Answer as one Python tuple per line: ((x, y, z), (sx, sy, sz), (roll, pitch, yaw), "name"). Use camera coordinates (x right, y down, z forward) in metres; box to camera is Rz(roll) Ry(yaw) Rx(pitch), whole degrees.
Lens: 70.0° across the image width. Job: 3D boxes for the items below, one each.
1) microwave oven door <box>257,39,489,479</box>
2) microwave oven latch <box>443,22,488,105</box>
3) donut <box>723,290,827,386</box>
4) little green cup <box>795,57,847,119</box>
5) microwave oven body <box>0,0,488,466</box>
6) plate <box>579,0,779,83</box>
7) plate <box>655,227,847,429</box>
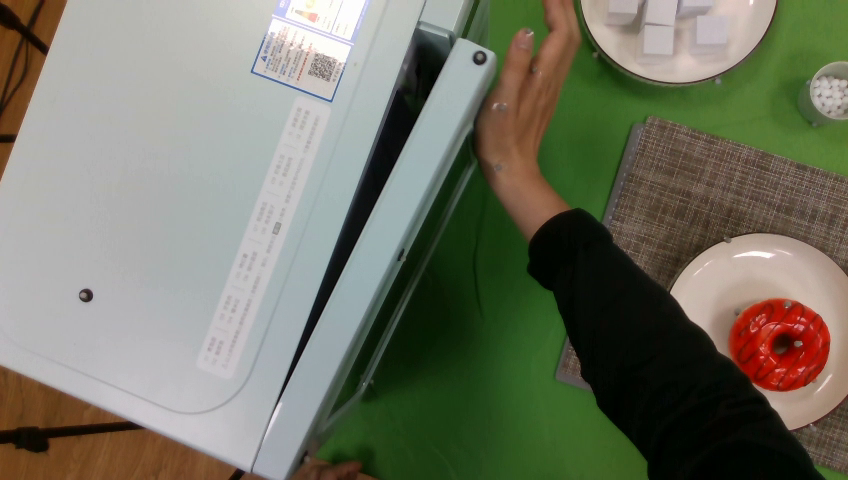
((-0.030, 0.019, 0.558), (0.039, 0.244, 0.355), (25, 91, 6), "microwave oven door")
((0.045, -0.190, 0.658), (0.030, 0.029, 0.079), (23, 91, 5), "microwave oven latch")
((0.361, 0.101, 0.625), (0.099, 0.048, 0.099), (0, 90, 7), "donut")
((0.428, -0.158, 0.640), (0.061, 0.039, 0.061), (0, 88, 6), "little green cup")
((-0.164, -0.078, 0.579), (0.325, 0.260, 0.441), (20, 91, 5), "microwave oven body")
((0.271, -0.270, 0.658), (0.207, 0.039, 0.207), (0, 88, 6), "plate")
((0.348, 0.090, 0.638), (0.209, 0.038, 0.209), (0, 89, 6), "plate")
